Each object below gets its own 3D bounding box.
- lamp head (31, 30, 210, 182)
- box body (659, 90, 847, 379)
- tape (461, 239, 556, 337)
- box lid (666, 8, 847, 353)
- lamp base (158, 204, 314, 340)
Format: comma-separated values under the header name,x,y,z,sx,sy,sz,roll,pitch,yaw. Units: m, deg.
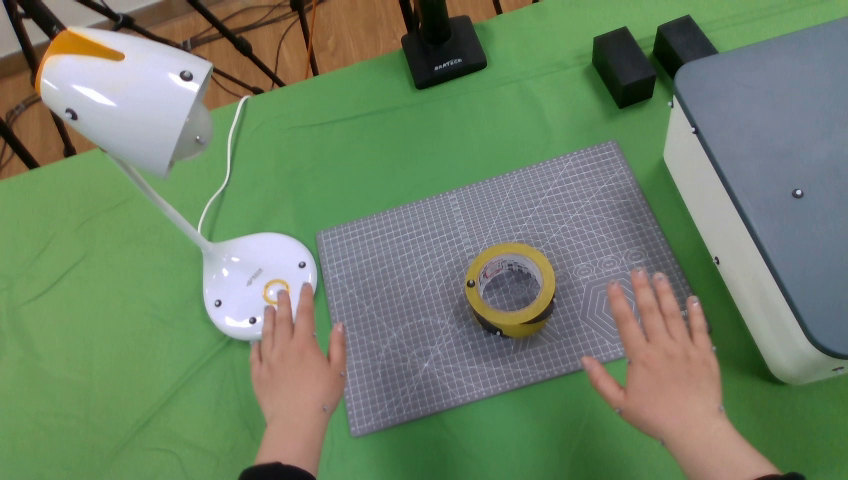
name,x,y,z,sx,sy,sz,roll,pitch,yaw
lamp head,-0.260,-0.120,0.517,0.123,0.112,0.111,20,65,-16
box body,0.453,-0.050,0.684,0.254,0.162,0.360,-17,61,3
tape,0.106,0.059,0.760,0.117,0.053,0.116,-4,63,9
box lid,0.439,-0.086,0.621,0.263,0.015,0.368,-17,62,3
lamp base,-0.255,0.024,0.780,0.178,0.182,0.160,18,68,22
